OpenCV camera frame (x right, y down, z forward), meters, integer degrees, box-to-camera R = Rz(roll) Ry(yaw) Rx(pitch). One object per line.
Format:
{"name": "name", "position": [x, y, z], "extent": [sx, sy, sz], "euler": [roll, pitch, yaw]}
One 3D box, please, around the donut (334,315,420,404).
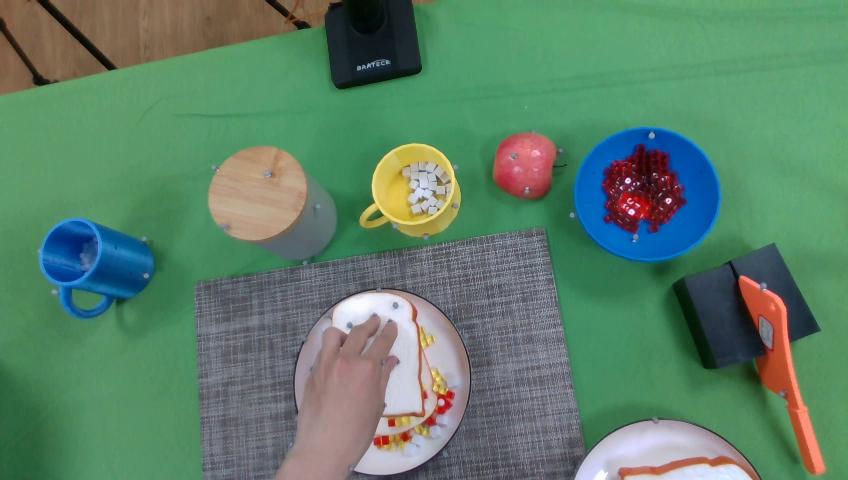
{"name": "donut", "position": [-0.053, 0.134, 0.679], "extent": [0.099, 0.048, 0.098], "euler": [-2, 80, 10]}

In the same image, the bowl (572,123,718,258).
{"name": "bowl", "position": [0.241, -0.047, 0.682], "extent": [0.151, 0.077, 0.150], "euler": [-2, 78, 9]}

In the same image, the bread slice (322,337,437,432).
{"name": "bread slice", "position": [-0.043, 0.151, 0.702], "extent": [0.107, 0.018, 0.133], "euler": [-27, 77, 4]}

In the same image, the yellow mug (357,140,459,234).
{"name": "yellow mug", "position": [-0.024, -0.054, 0.731], "extent": [0.131, 0.064, 0.099], "euler": [-31, 75, 2]}

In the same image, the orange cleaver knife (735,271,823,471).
{"name": "orange cleaver knife", "position": [0.364, 0.133, 0.625], "extent": [0.012, 0.077, 0.212], "euler": [-20, 98, -3]}

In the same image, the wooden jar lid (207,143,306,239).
{"name": "wooden jar lid", "position": [-0.179, -0.052, 0.656], "extent": [0.108, 0.021, 0.108], "euler": [-2, 76, 6]}

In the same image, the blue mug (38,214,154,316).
{"name": "blue mug", "position": [-0.407, 0.037, 0.748], "extent": [0.082, 0.106, 0.116], "euler": [11, 80, 11]}

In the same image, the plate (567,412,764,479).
{"name": "plate", "position": [0.251, 0.286, 0.633], "extent": [0.209, 0.038, 0.208], "euler": [-2, 78, 9]}

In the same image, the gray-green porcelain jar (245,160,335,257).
{"name": "gray-green porcelain jar", "position": [-0.168, -0.038, 0.718], "extent": [0.106, 0.127, 0.105], "euler": [-2, 77, 8]}

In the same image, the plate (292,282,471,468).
{"name": "plate", "position": [-0.048, 0.154, 0.702], "extent": [0.207, 0.039, 0.206], "euler": [-2, 79, 8]}

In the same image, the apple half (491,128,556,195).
{"name": "apple half", "position": [0.119, -0.099, 0.725], "extent": [0.074, 0.053, 0.080], "euler": [13, 81, 14]}

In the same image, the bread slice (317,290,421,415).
{"name": "bread slice", "position": [-0.057, 0.114, 0.627], "extent": [0.105, 0.019, 0.130], "euler": [-3, 63, 2]}
